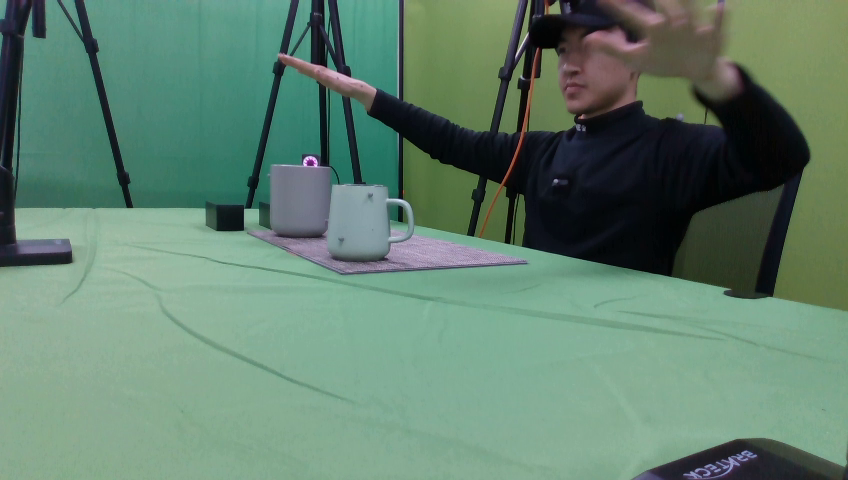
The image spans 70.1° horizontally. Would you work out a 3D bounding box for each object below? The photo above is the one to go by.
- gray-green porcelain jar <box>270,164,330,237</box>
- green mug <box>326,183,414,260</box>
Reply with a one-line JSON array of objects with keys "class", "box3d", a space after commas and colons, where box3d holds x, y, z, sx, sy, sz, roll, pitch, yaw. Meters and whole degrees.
[{"class": "gray-green porcelain jar", "box3d": [-0.223, -0.072, 1.090, 0.106, 0.126, 0.106, 2, 8, 0]}, {"class": "green mug", "box3d": [-0.076, -0.027, 0.858, 0.125, 0.105, 0.092, 3, 7, 8]}]
